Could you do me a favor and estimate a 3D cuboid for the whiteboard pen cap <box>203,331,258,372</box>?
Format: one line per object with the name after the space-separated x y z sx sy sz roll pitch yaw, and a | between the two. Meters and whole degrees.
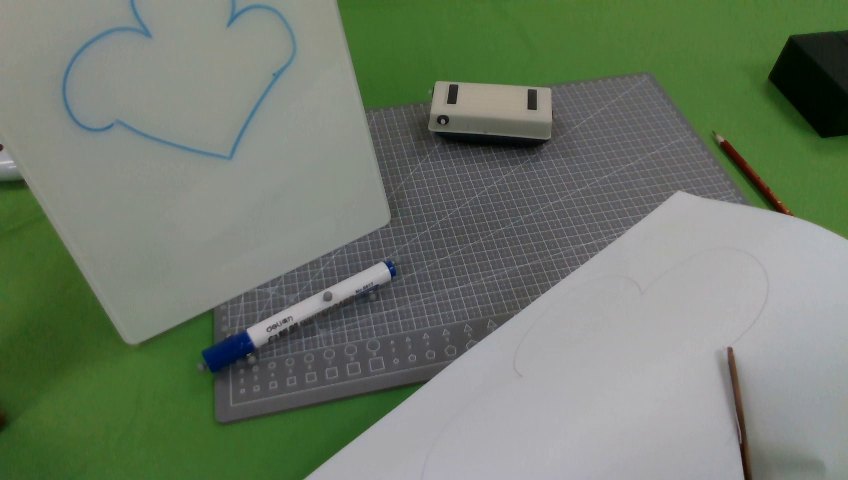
-0.131 0.076 0.413 0.033 0.018 0.018 -27 56 -20 | whiteboard pen cap

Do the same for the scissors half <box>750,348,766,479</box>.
0.149 0.138 0.289 0.013 0.175 0.040 4 6 -5 | scissors half

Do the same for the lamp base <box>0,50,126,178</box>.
-0.373 -0.170 0.509 0.178 0.182 0.160 22 53 19 | lamp base

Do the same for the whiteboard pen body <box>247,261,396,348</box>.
-0.082 0.050 0.434 0.141 0.017 0.017 -26 56 -20 | whiteboard pen body

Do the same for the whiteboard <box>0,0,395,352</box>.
-0.175 -0.118 0.430 0.217 0.308 0.142 -26 36 -20 | whiteboard

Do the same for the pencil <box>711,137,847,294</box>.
0.305 -0.030 0.526 0.012 0.012 0.192 -12 50 -11 | pencil

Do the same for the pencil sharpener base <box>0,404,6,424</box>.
-0.311 0.092 0.343 0.061 0.108 0.076 29 56 21 | pencil sharpener base

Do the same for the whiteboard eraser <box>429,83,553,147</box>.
0.063 -0.116 0.564 0.112 0.042 0.055 5 51 3 | whiteboard eraser

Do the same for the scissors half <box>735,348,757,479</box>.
0.151 0.136 0.268 0.013 0.040 0.174 4 74 -10 | scissors half
